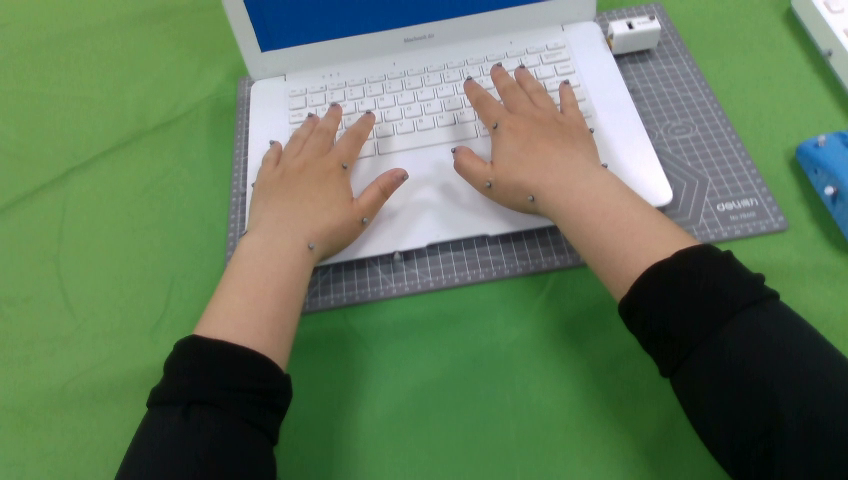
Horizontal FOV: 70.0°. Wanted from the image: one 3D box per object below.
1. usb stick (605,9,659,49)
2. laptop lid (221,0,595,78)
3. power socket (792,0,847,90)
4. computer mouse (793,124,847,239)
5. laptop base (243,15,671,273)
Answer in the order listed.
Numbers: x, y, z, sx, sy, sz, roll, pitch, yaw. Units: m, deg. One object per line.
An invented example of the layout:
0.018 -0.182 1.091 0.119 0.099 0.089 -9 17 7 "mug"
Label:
0.191 -0.200 0.580 0.059 0.027 0.021 -11 56 5 "usb stick"
-0.020 -0.276 0.536 0.357 0.244 0.013 -11 43 3 "laptop lid"
0.402 -0.174 0.538 0.072 0.033 0.224 -7 56 4 "power socket"
0.337 -0.049 0.462 0.063 0.041 0.116 -10 51 4 "computer mouse"
0.012 -0.095 0.552 0.354 0.023 0.233 -10 59 1 "laptop base"
